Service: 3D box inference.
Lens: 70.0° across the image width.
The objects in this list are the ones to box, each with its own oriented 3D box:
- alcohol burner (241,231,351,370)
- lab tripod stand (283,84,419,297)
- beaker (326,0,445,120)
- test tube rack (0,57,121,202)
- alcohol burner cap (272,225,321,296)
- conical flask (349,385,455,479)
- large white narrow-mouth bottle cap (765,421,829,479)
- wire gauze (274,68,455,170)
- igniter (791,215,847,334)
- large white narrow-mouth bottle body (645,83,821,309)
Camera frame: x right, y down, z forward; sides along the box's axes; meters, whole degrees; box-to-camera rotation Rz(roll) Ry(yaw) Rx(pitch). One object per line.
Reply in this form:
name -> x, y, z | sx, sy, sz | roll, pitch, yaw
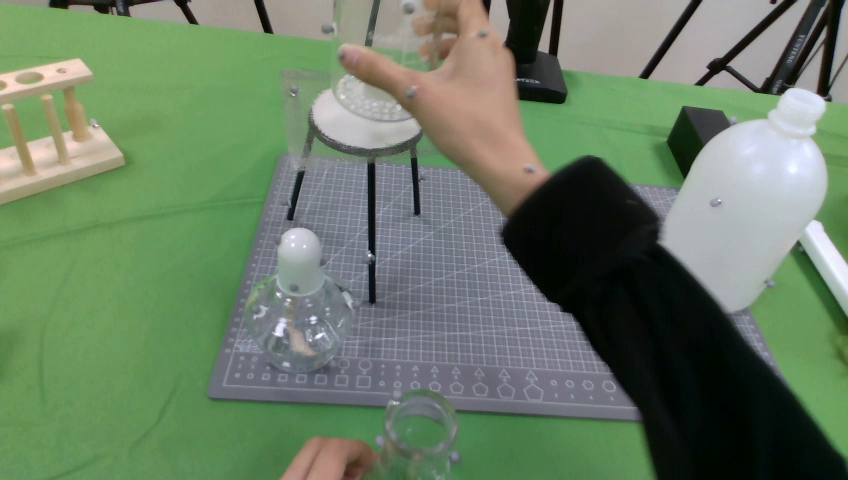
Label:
alcohol burner -> -0.089, 0.037, 0.426 | 0.078, 0.120, 0.077 | 7, 42, -5
lab tripod stand -> -0.053, -0.048, 0.507 | 0.148, 0.132, 0.147 | 6, 44, -6
beaker -> -0.028, -0.135, 0.386 | 0.084, 0.101, 0.073 | -1, 46, -13
test tube rack -> -0.403, -0.077, 0.516 | 0.242, 0.086, 0.066 | -27, 54, -33
alcohol burner cap -> -0.085, 0.011, 0.400 | 0.034, 0.048, 0.033 | 4, 48, -5
conical flask -> -0.009, 0.130, 0.339 | 0.075, 0.123, 0.074 | 5, 43, -4
large white narrow-mouth bottle cap -> 0.269, 0.153, 0.438 | 0.038, 0.024, 0.037 | 5, 43, -4
wire gauze -> -0.049, -0.098, 0.462 | 0.122, 0.011, 0.123 | -5, 46, -15
igniter -> 0.394, 0.072, 0.542 | 0.057, 0.025, 0.273 | 13, 42, -12
large white narrow-mouth bottle body -> 0.264, -0.038, 0.508 | 0.102, 0.196, 0.101 | 4, 43, -4
